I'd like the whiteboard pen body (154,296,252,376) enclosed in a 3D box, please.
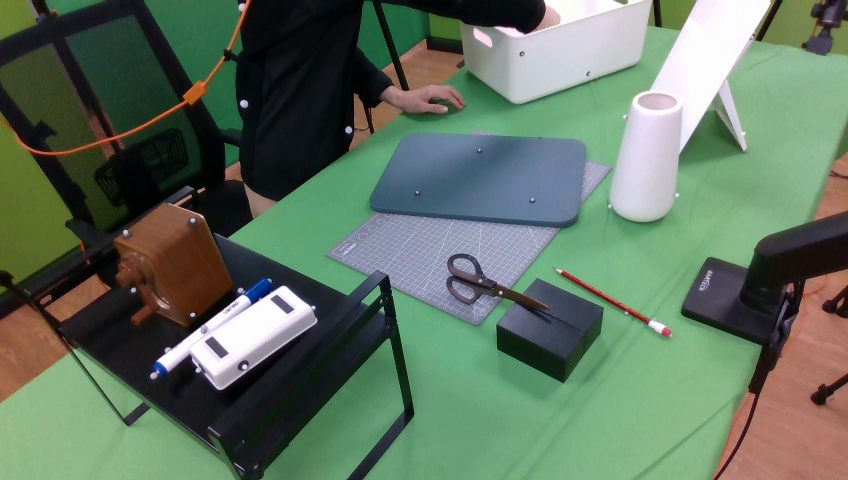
[{"bbox_3d":[-0.214,0.088,0.619,0.017,0.017,0.141,19,42,28],"label":"whiteboard pen body"}]

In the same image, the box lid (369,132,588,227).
[{"bbox_3d":[0.107,-0.120,1.107,0.370,0.015,0.263,5,42,14],"label":"box lid"}]

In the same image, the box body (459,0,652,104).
[{"bbox_3d":[0.291,-0.465,1.371,0.365,0.161,0.252,-22,42,-16],"label":"box body"}]

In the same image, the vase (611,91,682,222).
[{"bbox_3d":[0.348,-0.125,0.936,0.098,0.201,0.097,-3,40,3],"label":"vase"}]

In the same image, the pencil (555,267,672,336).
[{"bbox_3d":[0.261,0.082,0.851,0.012,0.012,0.192,-33,45,-27],"label":"pencil"}]

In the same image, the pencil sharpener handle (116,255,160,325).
[{"bbox_3d":[-0.286,0.050,0.594,0.035,0.068,0.031,7,41,35],"label":"pencil sharpener handle"}]

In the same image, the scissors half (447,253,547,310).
[{"bbox_3d":[0.098,0.058,0.821,0.173,0.040,0.013,27,33,37],"label":"scissors half"}]

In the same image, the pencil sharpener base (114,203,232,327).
[{"bbox_3d":[-0.262,0.029,0.635,0.061,0.107,0.077,18,47,26],"label":"pencil sharpener base"}]

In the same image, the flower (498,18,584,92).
[{"bbox_3d":[0.284,-0.437,1.395,0.038,0.044,0.362,48,59,-3],"label":"flower"}]

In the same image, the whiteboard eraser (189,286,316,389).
[{"bbox_3d":[-0.166,0.096,0.593,0.113,0.042,0.055,-36,47,-29],"label":"whiteboard eraser"}]

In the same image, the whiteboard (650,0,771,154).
[{"bbox_3d":[0.543,-0.298,1.076,0.144,0.305,0.216,12,40,-7],"label":"whiteboard"}]

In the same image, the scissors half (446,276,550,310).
[{"bbox_3d":[0.098,0.077,0.827,0.174,0.040,0.013,6,14,44],"label":"scissors half"}]

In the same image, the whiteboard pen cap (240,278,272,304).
[{"bbox_3d":[-0.183,0.057,0.658,0.018,0.018,0.033,19,44,28],"label":"whiteboard pen cap"}]
